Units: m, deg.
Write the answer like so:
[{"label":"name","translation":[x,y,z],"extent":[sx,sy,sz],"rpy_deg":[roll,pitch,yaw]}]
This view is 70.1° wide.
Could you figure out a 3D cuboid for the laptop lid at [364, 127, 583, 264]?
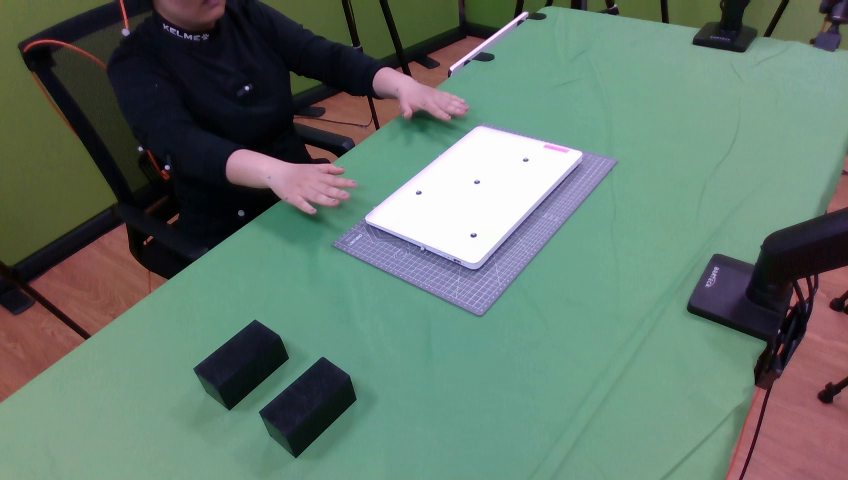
[{"label":"laptop lid","translation":[0.092,-0.096,1.053],"extent":[0.239,0.013,0.358],"rpy_deg":[23,48,34]}]

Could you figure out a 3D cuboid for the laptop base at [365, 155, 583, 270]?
[{"label":"laptop base","translation":[0.095,-0.086,1.059],"extent":[0.233,0.023,0.355],"rpy_deg":[20,47,33]}]
